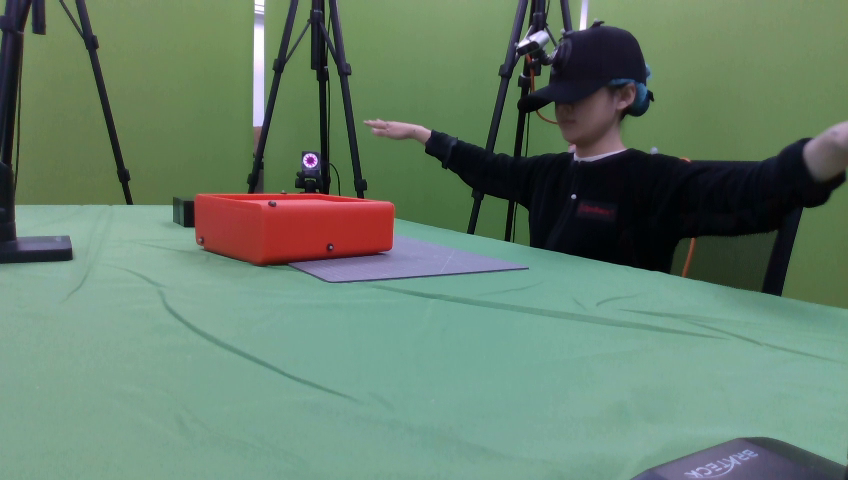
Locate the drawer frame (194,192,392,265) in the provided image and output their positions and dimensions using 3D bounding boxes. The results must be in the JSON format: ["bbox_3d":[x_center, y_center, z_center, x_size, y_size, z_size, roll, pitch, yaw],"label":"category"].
[{"bbox_3d":[-0.190,-0.024,0.882,0.215,0.082,0.200,-5,11,-44],"label":"drawer frame"}]

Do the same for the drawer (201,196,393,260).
[{"bbox_3d":[-0.186,-0.023,0.886,0.213,0.073,0.193,-5,11,-43],"label":"drawer"}]

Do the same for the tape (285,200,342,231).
[{"bbox_3d":[-0.223,-0.051,1.221,0.117,0.052,0.117,3,7,0],"label":"tape"}]
